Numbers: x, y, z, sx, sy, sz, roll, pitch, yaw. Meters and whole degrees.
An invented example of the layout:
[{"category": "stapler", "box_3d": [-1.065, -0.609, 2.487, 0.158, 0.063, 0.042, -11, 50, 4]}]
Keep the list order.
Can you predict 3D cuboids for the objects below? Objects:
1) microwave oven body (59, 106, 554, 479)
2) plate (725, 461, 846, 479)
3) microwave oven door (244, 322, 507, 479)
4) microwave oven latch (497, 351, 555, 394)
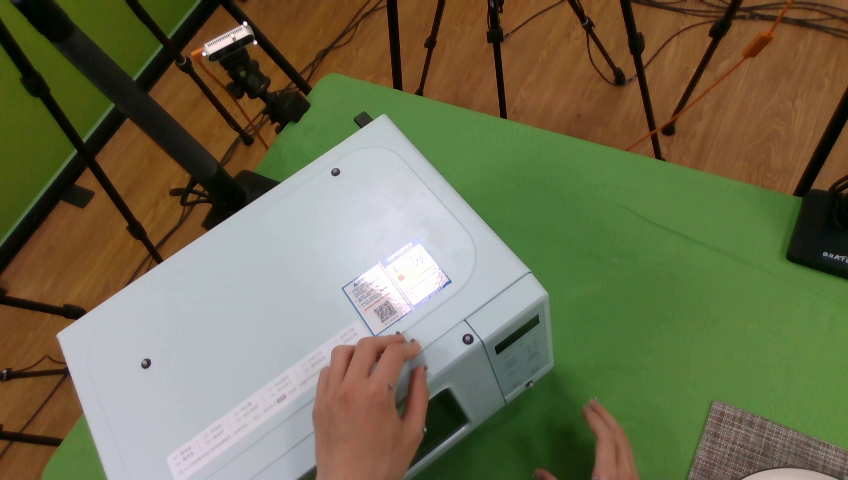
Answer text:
[{"category": "microwave oven body", "box_3d": [-0.119, 0.115, 0.720, 0.441, 0.263, 0.322, -36, 61, -6]}, {"category": "plate", "box_3d": [0.381, 0.335, 0.614, 0.207, 0.039, 0.206, -5, 62, 10]}, {"category": "microwave oven door", "box_3d": [-0.074, 0.234, 0.639, 0.356, 0.246, 0.039, -36, 59, -7]}, {"category": "microwave oven latch", "box_3d": [0.126, 0.157, 0.753, 0.079, 0.030, 0.030, -34, 61, -5]}]
